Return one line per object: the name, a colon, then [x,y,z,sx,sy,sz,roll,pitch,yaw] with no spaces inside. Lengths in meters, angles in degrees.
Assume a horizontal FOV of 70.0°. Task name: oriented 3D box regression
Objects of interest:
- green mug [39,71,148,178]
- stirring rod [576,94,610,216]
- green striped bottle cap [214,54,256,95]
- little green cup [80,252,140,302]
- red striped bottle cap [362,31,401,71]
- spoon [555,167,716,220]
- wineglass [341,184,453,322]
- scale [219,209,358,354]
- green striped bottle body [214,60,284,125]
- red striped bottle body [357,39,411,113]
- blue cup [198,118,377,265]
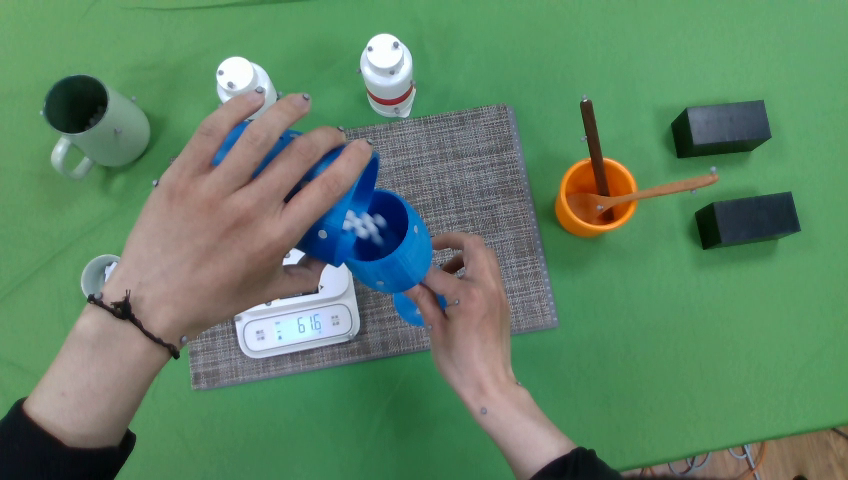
green mug: [-0.413,-0.134,0.749,0.092,0.105,0.125,25,80,4]
stirring rod: [0.202,-0.095,0.719,0.014,0.178,0.006,1,45,29]
green striped bottle cap: [-0.217,-0.190,0.695,0.044,0.020,0.044,0,79,1]
little green cup: [-0.384,0.048,0.748,0.061,0.039,0.061,0,79,-1]
red striped bottle cap: [-0.049,-0.220,0.703,0.044,0.018,0.044,0,76,1]
spoon: [0.242,-0.057,0.713,0.022,0.193,0.041,-7,87,-45]
wineglass: [-0.022,0.018,0.524,0.073,0.174,0.073,-5,67,12]
scale: [-0.169,0.032,0.752,0.149,0.031,0.200,-11,80,-2]
green striped bottle body: [-0.217,-0.179,0.749,0.063,0.119,0.063,0,79,0]
red striped bottle body: [-0.049,-0.210,0.756,0.063,0.120,0.063,0,79,0]
blue cup: [-0.094,-0.039,0.417,0.100,0.093,0.092,20,80,2]
